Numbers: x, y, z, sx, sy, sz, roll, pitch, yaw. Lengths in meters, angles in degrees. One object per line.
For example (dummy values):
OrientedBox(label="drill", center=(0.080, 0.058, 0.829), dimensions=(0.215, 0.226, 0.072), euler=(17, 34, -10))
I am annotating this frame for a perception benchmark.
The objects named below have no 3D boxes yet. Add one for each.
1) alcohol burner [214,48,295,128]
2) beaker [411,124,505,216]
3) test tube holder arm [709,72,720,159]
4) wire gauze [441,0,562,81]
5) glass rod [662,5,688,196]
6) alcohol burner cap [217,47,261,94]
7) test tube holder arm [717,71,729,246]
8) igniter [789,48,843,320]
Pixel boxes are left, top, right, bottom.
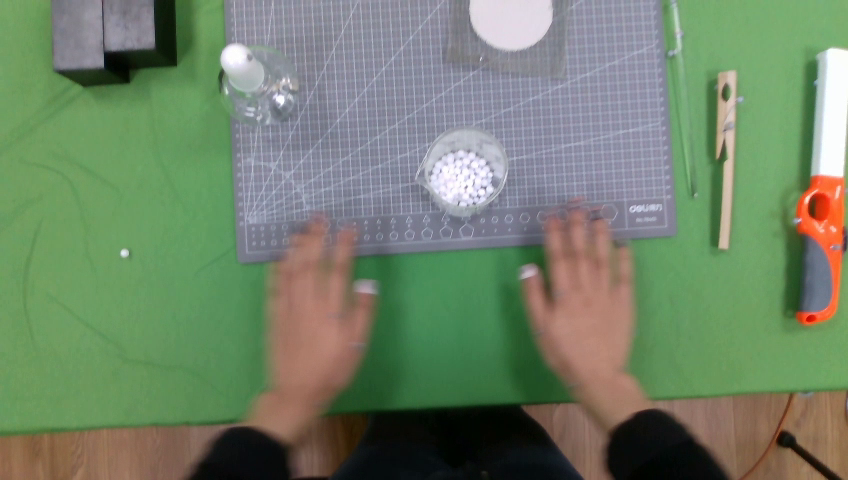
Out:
OrientedBox(label="alcohol burner", center=(-0.165, -0.149, 0.573), dimensions=(0.078, 0.119, 0.078), euler=(0, 86, 2))
OrientedBox(label="beaker", center=(0.031, -0.061, 0.577), dimensions=(0.084, 0.100, 0.074), euler=(-12, 87, 0))
OrientedBox(label="test tube holder arm", center=(0.301, -0.128, 0.624), dimensions=(0.010, 0.015, 0.087), euler=(-1, 88, 35))
OrientedBox(label="wire gauze", center=(0.084, -0.234, 0.630), dimensions=(0.125, 0.011, 0.121), euler=(7, 89, 0))
OrientedBox(label="glass rod", center=(0.261, -0.145, 0.629), dimensions=(0.008, 0.008, 0.199), euler=(-6, 90, -1))
OrientedBox(label="alcohol burner cap", center=(-0.166, -0.153, 0.537), dimensions=(0.034, 0.048, 0.034), euler=(0, 83, -4))
OrientedBox(label="test tube holder arm", center=(0.305, -0.083, 0.619), dimensions=(0.013, 0.015, 0.178), euler=(-2, 87, 35))
OrientedBox(label="igniter", center=(0.400, -0.056, 0.615), dimensions=(0.057, 0.025, 0.276), euler=(5, 88, -10))
